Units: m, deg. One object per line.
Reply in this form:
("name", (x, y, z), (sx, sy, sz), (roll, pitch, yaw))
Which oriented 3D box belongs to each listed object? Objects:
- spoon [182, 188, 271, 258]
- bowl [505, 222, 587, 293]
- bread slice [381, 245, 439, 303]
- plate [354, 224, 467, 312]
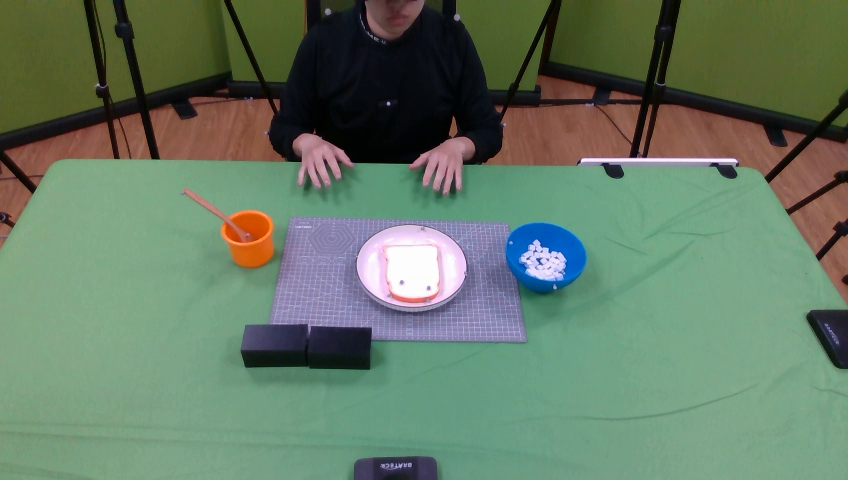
("spoon", (-0.361, -0.032, 1.113), (0.021, 0.194, 0.041), (-26, 30, 35))
("bowl", (0.221, 0.045, 1.132), (0.151, 0.077, 0.150), (2, 46, -2))
("bread slice", (-0.022, 0.061, 1.126), (0.107, 0.018, 0.133), (-3, 45, -8))
("plate", (-0.025, 0.055, 1.128), (0.209, 0.038, 0.208), (3, 46, -2))
